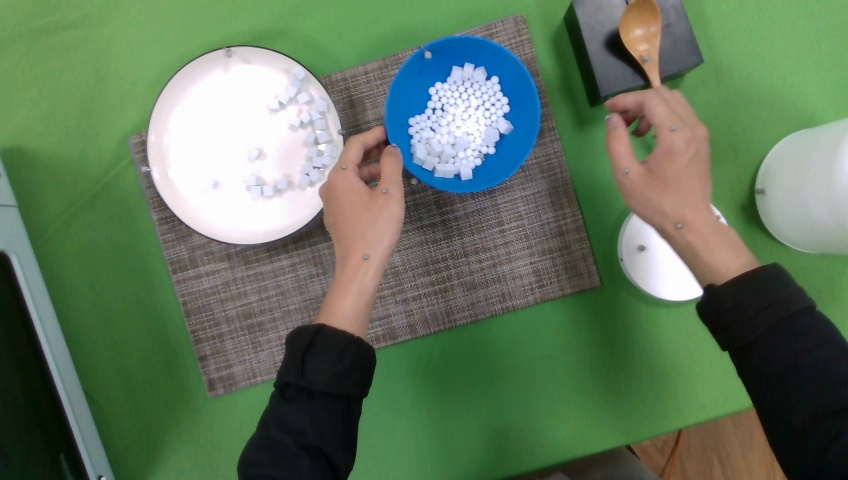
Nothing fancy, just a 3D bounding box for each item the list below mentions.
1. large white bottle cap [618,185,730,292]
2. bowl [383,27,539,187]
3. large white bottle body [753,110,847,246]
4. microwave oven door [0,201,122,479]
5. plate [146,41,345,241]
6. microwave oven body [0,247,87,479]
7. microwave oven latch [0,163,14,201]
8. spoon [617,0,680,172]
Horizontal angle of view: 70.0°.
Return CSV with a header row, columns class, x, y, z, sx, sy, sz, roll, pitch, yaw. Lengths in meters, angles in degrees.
class,x,y,z,sx,sy,sz,roll,pitch,yaw
large white bottle cap,0.266,-0.002,0.646,0.115,0.018,0.115,0,93,1
bowl,0.037,-0.127,0.614,0.151,0.077,0.151,0,93,3
large white bottle body,0.408,-0.058,0.554,0.130,0.184,0.130,0,92,2
microwave oven door,-0.403,0.134,0.547,0.039,0.243,0.356,-19,92,3
plate,-0.185,-0.102,0.643,0.209,0.038,0.209,0,92,2
microwave oven body,-0.555,0.141,0.558,0.326,0.260,0.442,-19,92,2
microwave oven latch,-0.467,-0.077,0.641,0.030,0.029,0.079,-18,92,2
spoon,0.231,-0.151,0.604,0.041,0.021,0.195,-24,114,1
